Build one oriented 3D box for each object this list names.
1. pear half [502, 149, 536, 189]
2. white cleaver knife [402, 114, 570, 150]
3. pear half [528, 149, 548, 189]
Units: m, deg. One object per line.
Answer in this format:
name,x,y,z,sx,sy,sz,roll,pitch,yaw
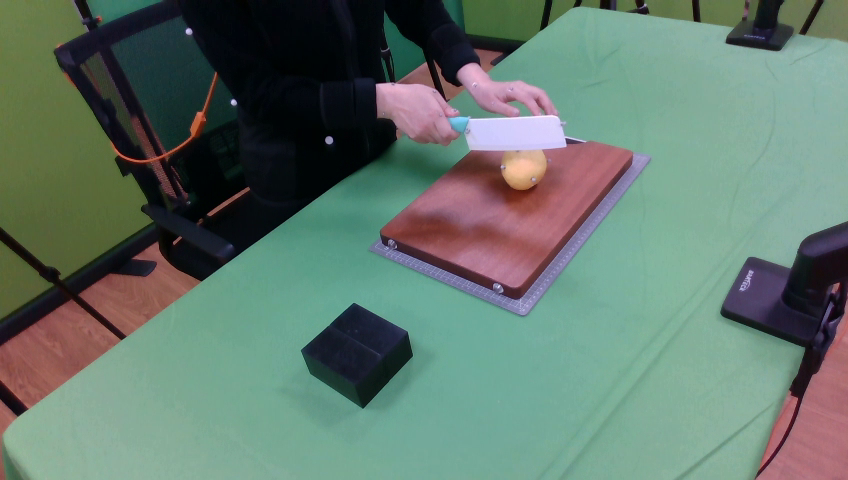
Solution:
pear half,0.152,-0.119,1.000,0.070,0.088,0.031,28,54,30
white cleaver knife,0.087,-0.167,0.951,0.284,0.066,0.021,7,45,31
pear half,0.175,-0.145,1.011,0.076,0.110,0.056,28,53,30
